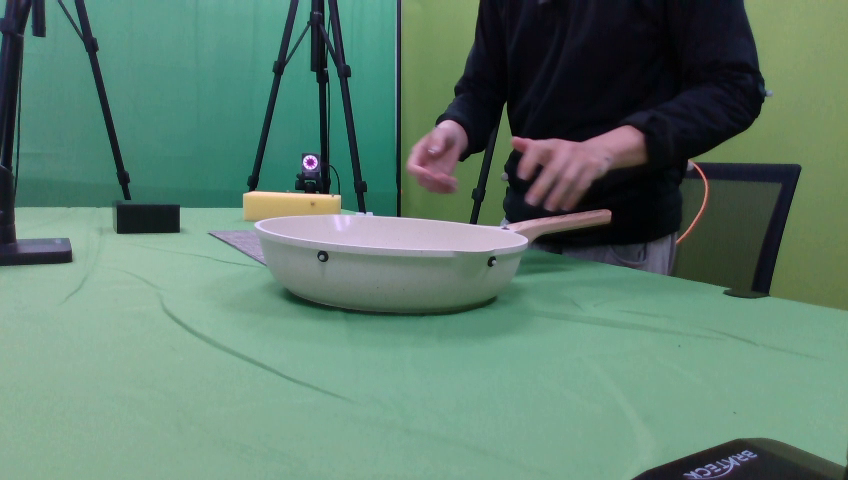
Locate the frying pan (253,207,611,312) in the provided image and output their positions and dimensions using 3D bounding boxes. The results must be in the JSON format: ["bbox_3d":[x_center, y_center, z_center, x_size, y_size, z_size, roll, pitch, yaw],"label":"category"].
[{"bbox_3d":[0.052,-0.001,0.715,0.490,0.102,0.305,-11,15,-31],"label":"frying pan"}]

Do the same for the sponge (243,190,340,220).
[{"bbox_3d":[-0.298,-0.077,1.388,0.207,0.061,0.118,2,8,-8],"label":"sponge"}]

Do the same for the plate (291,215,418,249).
[{"bbox_3d":[-0.115,-0.013,1.002,0.208,0.039,0.207,2,7,0],"label":"plate"}]
